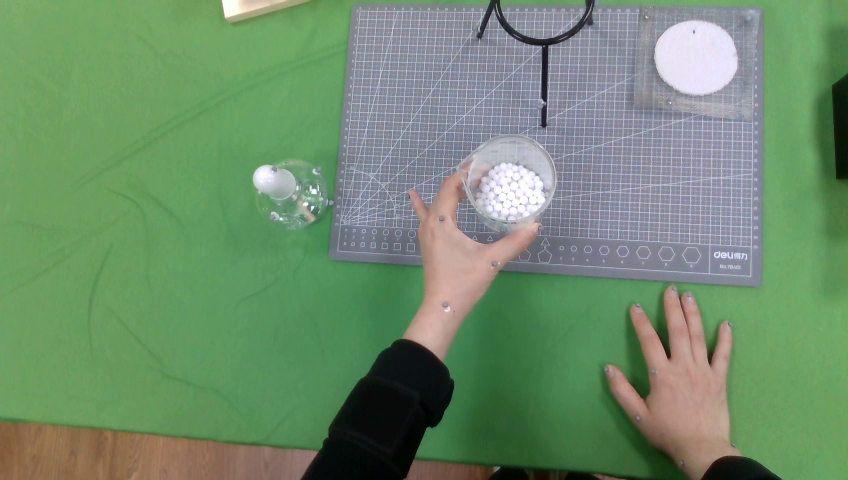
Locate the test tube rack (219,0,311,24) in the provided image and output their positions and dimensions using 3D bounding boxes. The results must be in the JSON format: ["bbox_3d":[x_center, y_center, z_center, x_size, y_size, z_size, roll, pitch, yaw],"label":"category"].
[{"bbox_3d":[-0.132,-0.324,0.678,0.242,0.085,0.066,-14,80,5],"label":"test tube rack"}]

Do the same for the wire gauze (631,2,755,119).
[{"bbox_3d":[0.285,-0.194,0.643,0.125,0.011,0.121,8,83,6],"label":"wire gauze"}]

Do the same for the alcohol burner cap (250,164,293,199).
[{"bbox_3d":[-0.152,-0.059,0.595,0.034,0.048,0.034,-1,85,7],"label":"alcohol burner cap"}]

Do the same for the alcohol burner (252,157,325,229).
[{"bbox_3d":[-0.147,-0.053,0.630,0.078,0.119,0.077,-1,80,7],"label":"alcohol burner"}]

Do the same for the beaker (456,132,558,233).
[{"bbox_3d":[0.072,-0.046,0.534,0.084,0.100,0.074,14,86,9],"label":"beaker"}]

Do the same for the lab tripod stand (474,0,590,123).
[{"bbox_3d":[0.114,-0.207,0.603,0.148,0.132,0.148,-1,83,6],"label":"lab tripod stand"}]
